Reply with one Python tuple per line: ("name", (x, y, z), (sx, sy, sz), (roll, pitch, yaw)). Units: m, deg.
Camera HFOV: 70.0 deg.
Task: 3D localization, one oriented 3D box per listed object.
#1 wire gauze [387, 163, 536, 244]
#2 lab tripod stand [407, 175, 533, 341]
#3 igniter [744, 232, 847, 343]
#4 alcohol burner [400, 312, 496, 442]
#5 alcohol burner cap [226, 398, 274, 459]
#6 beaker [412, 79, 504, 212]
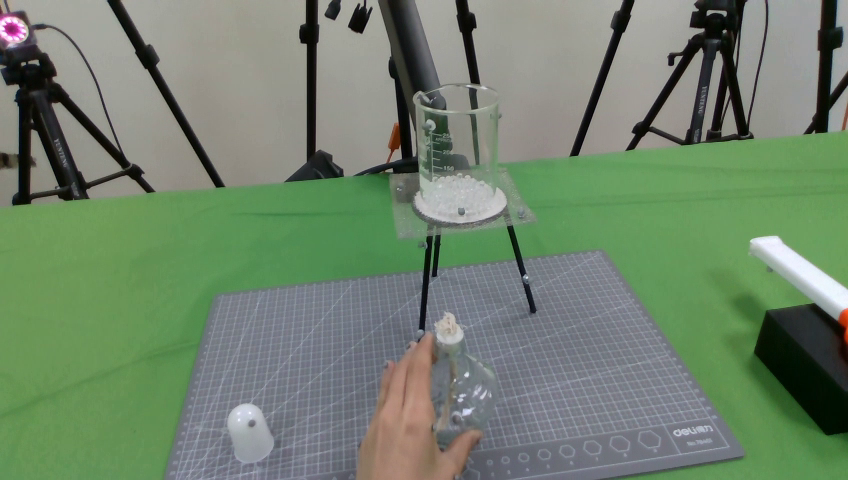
("wire gauze", (0.029, -0.041, 0.558), (0.121, 0.011, 0.124), (-6, 35, -4))
("lab tripod stand", (0.037, 0.012, 0.597), (0.148, 0.132, 0.147), (-1, 31, 1))
("igniter", (0.362, 0.065, 0.504), (0.057, 0.025, 0.274), (-8, 30, -5))
("alcohol burner", (0.019, 0.102, 0.477), (0.078, 0.120, 0.077), (-1, 35, 1))
("alcohol burner cap", (-0.141, 0.148, 0.486), (0.034, 0.048, 0.033), (-2, 34, 2))
("beaker", (0.027, -0.083, 0.533), (0.074, 0.101, 0.083), (-26, 39, -33))
